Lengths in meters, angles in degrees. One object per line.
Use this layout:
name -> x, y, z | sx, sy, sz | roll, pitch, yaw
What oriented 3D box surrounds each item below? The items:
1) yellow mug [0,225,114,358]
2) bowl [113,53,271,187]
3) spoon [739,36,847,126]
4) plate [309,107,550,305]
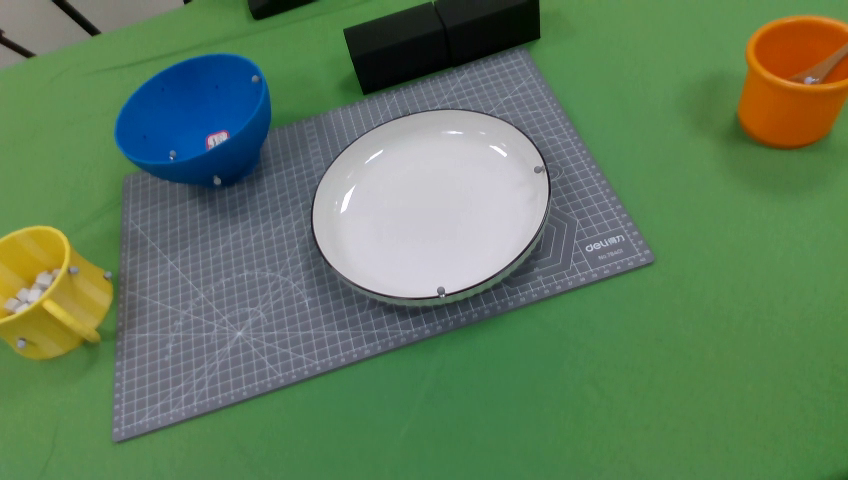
yellow mug -> -0.328, 0.051, 0.527 | 0.130, 0.064, 0.099 | 26, 64, 26
bowl -> -0.215, -0.106, 0.602 | 0.151, 0.077, 0.150 | -6, 54, 9
spoon -> 0.340, -0.157, 0.476 | 0.022, 0.194, 0.041 | 14, 50, -33
plate -> 0.005, -0.031, 0.526 | 0.209, 0.038, 0.207 | -5, 54, 8
